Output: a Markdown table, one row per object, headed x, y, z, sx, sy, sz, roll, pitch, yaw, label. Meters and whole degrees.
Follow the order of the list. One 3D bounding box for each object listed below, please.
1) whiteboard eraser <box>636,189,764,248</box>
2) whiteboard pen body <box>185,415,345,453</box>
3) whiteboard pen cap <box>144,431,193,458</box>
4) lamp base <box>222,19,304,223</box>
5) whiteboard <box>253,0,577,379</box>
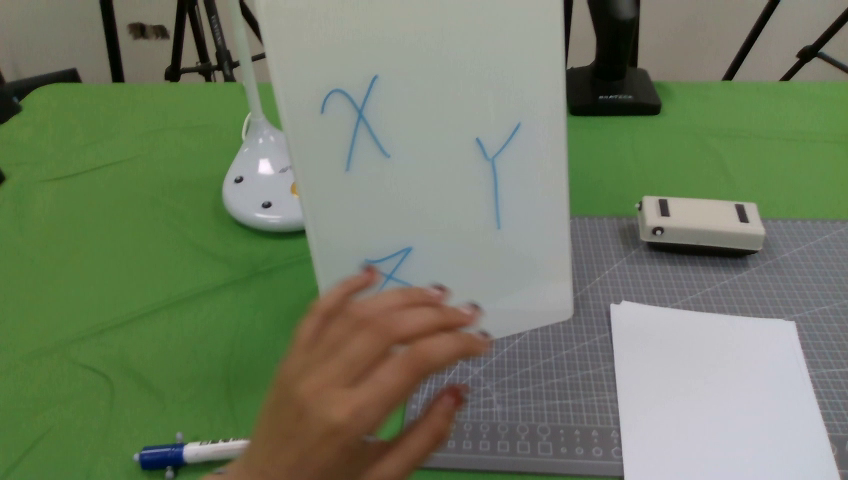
| x | y | z | sx | sy | sz | roll | pitch | yaw | label |
| --- | --- | --- | --- | --- | --- | --- | --- | --- | --- |
| 0.274 | -0.021 | 0.608 | 0.112 | 0.042 | 0.055 | 5 | 43 | 9 | whiteboard eraser |
| -0.131 | 0.149 | 0.461 | 0.141 | 0.017 | 0.017 | -6 | 42 | -3 | whiteboard pen body |
| -0.192 | 0.154 | 0.456 | 0.033 | 0.018 | 0.018 | -6 | 42 | -3 | whiteboard pen cap |
| -0.163 | -0.136 | 0.658 | 0.160 | 0.182 | 0.177 | -34 | 48 | -30 | lamp base |
| -0.003 | -0.071 | 0.526 | 0.217 | 0.307 | 0.142 | -13 | 23 | -10 | whiteboard |
